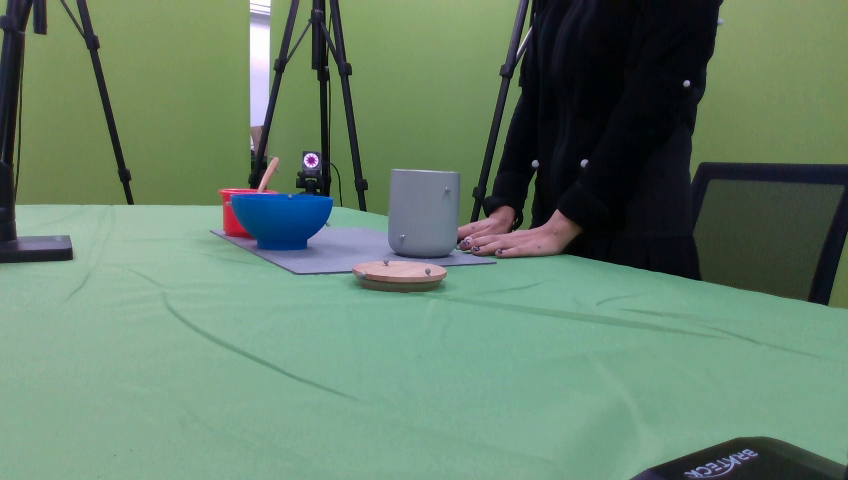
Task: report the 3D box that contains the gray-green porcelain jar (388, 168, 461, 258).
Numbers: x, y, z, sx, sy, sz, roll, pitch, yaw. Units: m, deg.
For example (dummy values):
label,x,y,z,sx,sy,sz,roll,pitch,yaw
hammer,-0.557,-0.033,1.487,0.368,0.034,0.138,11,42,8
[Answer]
label,x,y,z,sx,sy,sz,roll,pitch,yaw
gray-green porcelain jar,0.000,-0.041,0.897,0.106,0.126,0.106,2,7,0

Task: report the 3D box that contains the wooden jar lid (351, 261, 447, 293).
label,x,y,z,sx,sy,sz,roll,pitch,yaw
wooden jar lid,-0.028,0.042,0.687,0.108,0.020,0.108,3,8,0

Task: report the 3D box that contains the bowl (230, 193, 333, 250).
label,x,y,z,sx,sy,sz,roll,pitch,yaw
bowl,-0.214,-0.028,0.912,0.151,0.077,0.151,2,8,0

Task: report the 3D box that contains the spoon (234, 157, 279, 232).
label,x,y,z,sx,sy,sz,roll,pitch,yaw
spoon,-0.287,-0.084,1.066,0.041,0.021,0.193,7,52,5
